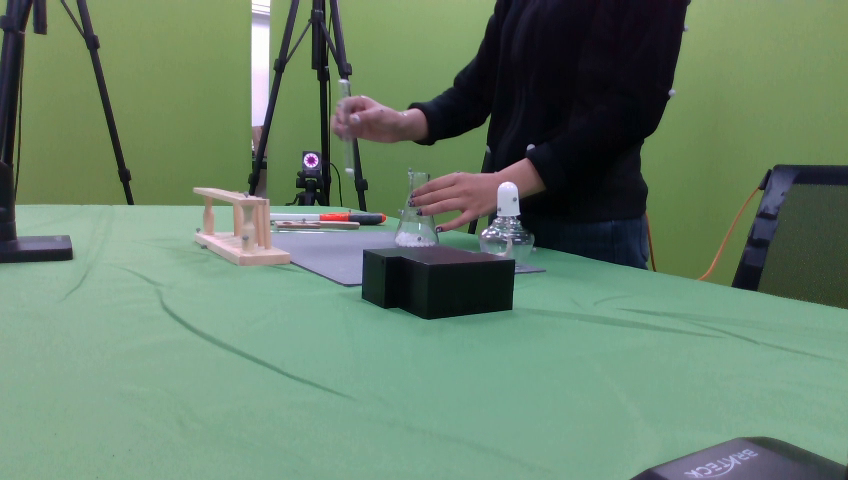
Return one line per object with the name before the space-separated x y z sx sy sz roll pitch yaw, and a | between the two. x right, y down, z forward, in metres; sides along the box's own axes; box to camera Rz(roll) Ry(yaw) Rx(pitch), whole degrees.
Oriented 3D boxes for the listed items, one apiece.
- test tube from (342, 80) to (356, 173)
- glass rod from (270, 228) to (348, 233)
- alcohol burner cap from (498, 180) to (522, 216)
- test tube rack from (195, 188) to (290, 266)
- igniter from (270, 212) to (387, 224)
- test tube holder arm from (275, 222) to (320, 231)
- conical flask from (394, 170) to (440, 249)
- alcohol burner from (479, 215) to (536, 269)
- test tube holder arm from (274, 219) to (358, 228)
test tube | -0.122 -0.183 0.981 0.017 0.150 0.017 -2 6 1
glass rod | -0.234 -0.017 1.105 0.201 0.008 0.008 1 7 -26
alcohol burner cap | 0.114 -0.056 0.810 0.034 0.048 0.034 -5 12 1
test tube rack | -0.266 -0.025 0.864 0.067 0.085 0.241 -2 9 -33
igniter | -0.213 -0.048 1.278 0.278 0.025 0.057 -1 -2 -25
test tube holder arm | -0.238 -0.026 1.145 0.088 0.015 0.010 -3 46 -38
conical flask | -0.009 -0.050 0.969 0.075 0.122 0.075 3 7 0
alcohol burner | 0.114 -0.021 0.816 0.078 0.119 0.078 2 9 0
test tube holder arm | -0.206 -0.032 1.177 0.179 0.015 0.013 -4 46 -39
